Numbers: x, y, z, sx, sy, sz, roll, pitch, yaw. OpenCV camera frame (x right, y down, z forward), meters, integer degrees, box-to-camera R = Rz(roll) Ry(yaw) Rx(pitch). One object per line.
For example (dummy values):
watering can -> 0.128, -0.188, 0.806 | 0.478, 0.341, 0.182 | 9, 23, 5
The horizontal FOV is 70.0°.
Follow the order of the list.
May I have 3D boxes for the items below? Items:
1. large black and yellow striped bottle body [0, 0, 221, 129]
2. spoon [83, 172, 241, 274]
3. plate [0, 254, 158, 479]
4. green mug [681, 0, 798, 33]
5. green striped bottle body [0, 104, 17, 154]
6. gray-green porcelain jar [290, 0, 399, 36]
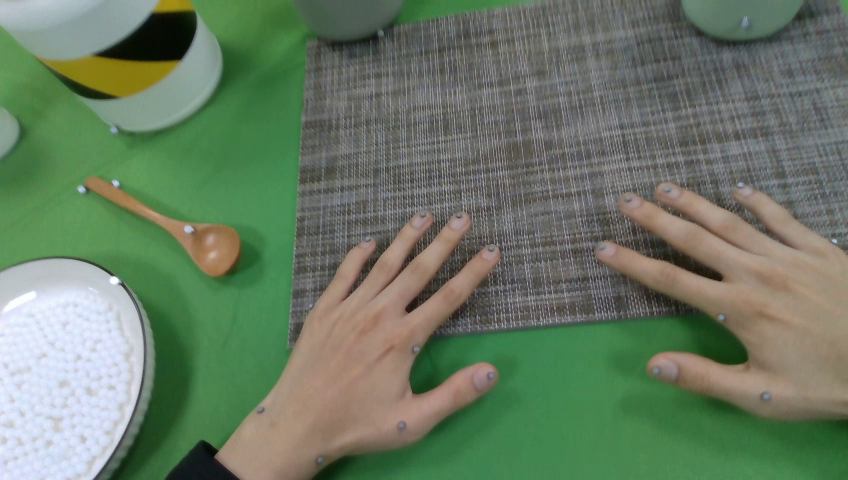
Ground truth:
large black and yellow striped bottle body -> -0.268, -0.193, 0.498 | 0.130, 0.185, 0.129 | -4, 65, 9
spoon -> -0.222, -0.023, 0.502 | 0.192, 0.022, 0.041 | 25, 91, 20
plate -> -0.289, 0.111, 0.447 | 0.209, 0.038, 0.207 | -4, 65, 9
green mug -> 0.261, -0.221, 0.447 | 0.125, 0.106, 0.092 | -7, 64, 8
green striped bottle body -> -0.432, -0.124, 0.534 | 0.063, 0.120, 0.062 | -4, 65, 10
gray-green porcelain jar -> -0.078, -0.250, 0.516 | 0.106, 0.127, 0.105 | -5, 61, 9
